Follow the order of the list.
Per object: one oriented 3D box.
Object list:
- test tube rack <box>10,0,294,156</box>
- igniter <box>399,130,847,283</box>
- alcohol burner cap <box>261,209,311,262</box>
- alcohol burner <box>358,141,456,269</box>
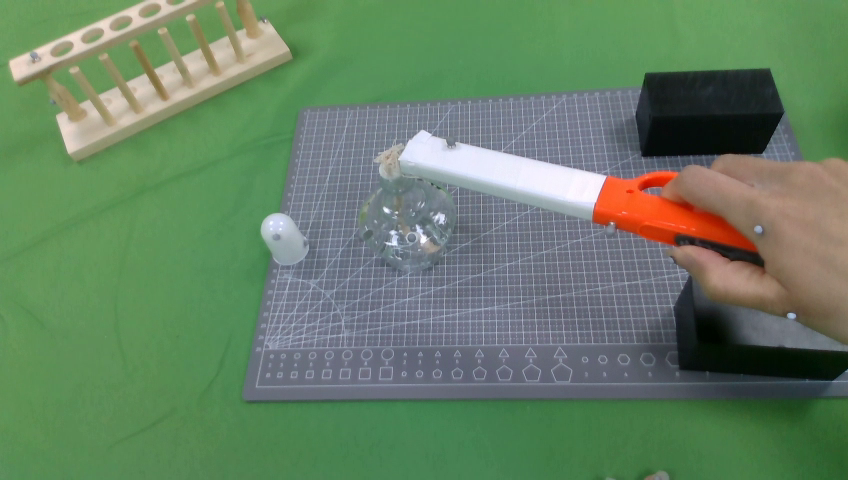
[{"bbox_3d":[-0.263,-0.186,0.608,0.242,0.086,0.066,-29,59,-11],"label":"test tube rack"},{"bbox_3d":[0.115,-0.024,0.352,0.275,0.025,0.057,16,57,21],"label":"igniter"},{"bbox_3d":[-0.116,-0.007,0.500,0.034,0.048,0.033,-4,59,7],"label":"alcohol burner cap"},{"bbox_3d":[-0.015,-0.030,0.459,0.078,0.120,0.077,-4,56,6],"label":"alcohol burner"}]
